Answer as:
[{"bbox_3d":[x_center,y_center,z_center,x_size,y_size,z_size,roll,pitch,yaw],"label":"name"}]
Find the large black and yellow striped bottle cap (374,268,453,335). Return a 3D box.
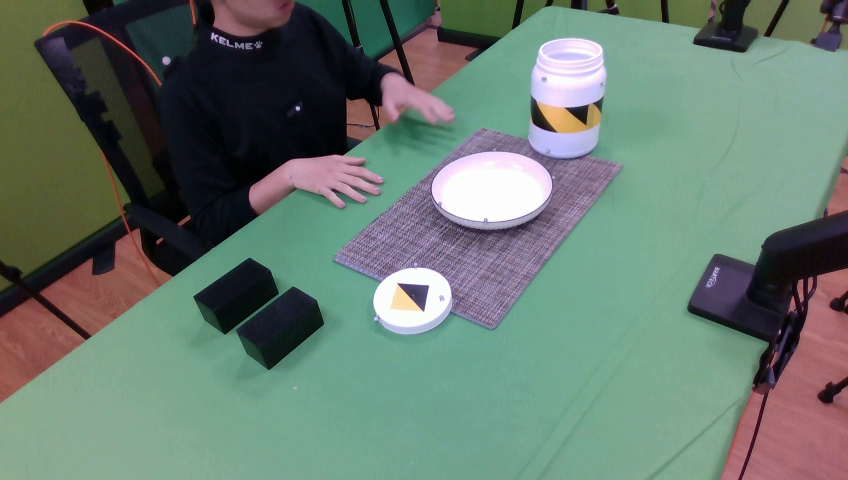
[{"bbox_3d":[-0.015,0.087,0.871,0.115,0.019,0.114,-6,43,6],"label":"large black and yellow striped bottle cap"}]

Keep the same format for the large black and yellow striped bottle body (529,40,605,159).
[{"bbox_3d":[0.259,-0.257,1.103,0.131,0.185,0.130,-3,38,3],"label":"large black and yellow striped bottle body"}]

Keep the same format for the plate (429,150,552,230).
[{"bbox_3d":[0.113,-0.082,1.032,0.207,0.039,0.206,-4,41,4],"label":"plate"}]
